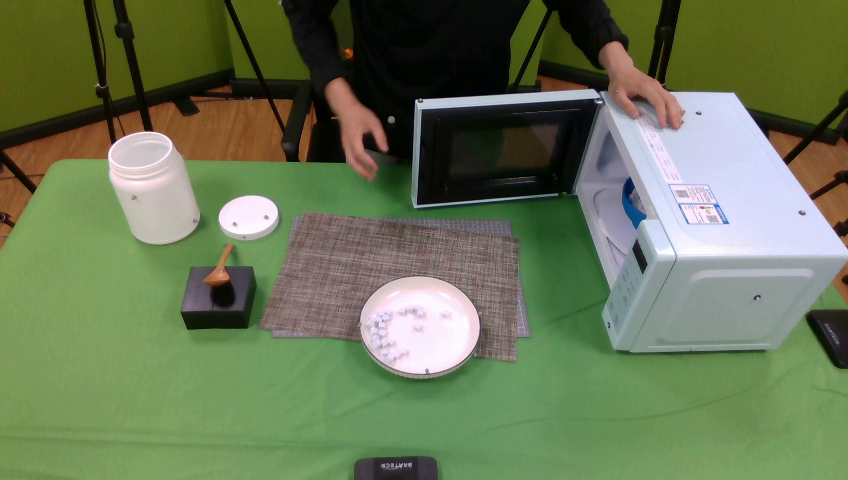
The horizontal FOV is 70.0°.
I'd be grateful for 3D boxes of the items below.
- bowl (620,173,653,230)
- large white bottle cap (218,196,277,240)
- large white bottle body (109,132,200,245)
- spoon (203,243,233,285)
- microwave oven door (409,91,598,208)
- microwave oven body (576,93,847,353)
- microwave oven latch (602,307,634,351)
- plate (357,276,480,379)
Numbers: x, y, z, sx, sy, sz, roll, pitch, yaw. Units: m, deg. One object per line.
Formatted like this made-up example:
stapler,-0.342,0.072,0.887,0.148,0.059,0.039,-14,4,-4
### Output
bowl,0.445,-0.056,1.165,0.151,0.077,0.150,1,46,-1
large white bottle cap,-0.354,-0.045,1.220,0.115,0.018,0.114,2,45,-2
large white bottle body,-0.506,-0.097,1.141,0.131,0.185,0.130,2,46,-2
spoon,-0.360,0.039,1.087,0.041,0.022,0.192,-5,24,-7
microwave oven door,0.152,-0.179,1.212,0.356,0.245,0.039,-6,47,-10
microwave oven body,0.475,-0.041,1.109,0.326,0.261,0.438,-1,45,-4
microwave oven latch,0.332,0.153,1.044,0.030,0.029,0.078,0,45,-4
plate,-0.010,0.151,1.038,0.209,0.038,0.208,2,47,-2
